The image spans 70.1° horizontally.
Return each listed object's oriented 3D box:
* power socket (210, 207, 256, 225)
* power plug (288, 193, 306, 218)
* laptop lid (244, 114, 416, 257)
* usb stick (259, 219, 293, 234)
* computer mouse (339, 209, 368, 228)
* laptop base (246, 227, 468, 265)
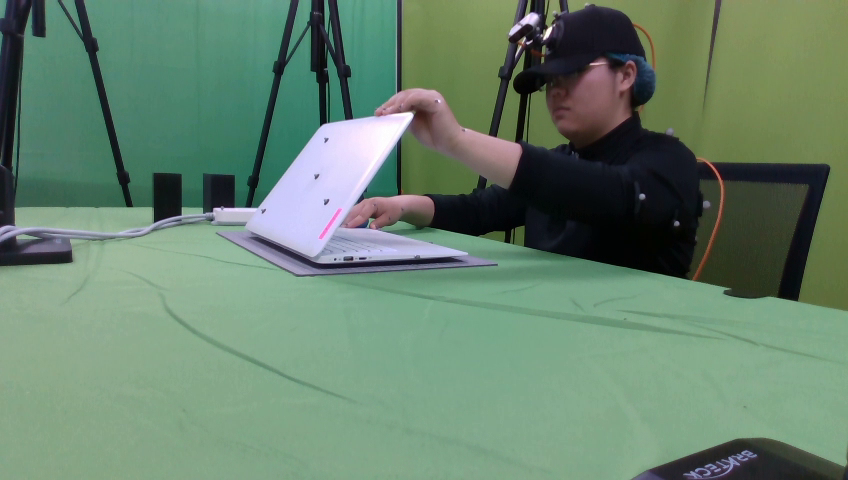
[{"bbox_3d":[-0.334,-0.051,1.282,0.228,0.032,0.072,-1,9,-28],"label":"power socket"},{"bbox_3d":[-0.281,-0.076,1.340,0.035,0.052,0.072,3,6,-18],"label":"power plug"},{"bbox_3d":[-0.160,-0.094,0.915,0.013,0.241,0.355,41,-12,-29],"label":"laptop lid"},{"bbox_3d":[-0.272,-0.025,1.108,0.059,0.027,0.021,-5,11,-28],"label":"usb stick"},{"bbox_3d":[-0.179,-0.045,1.275,0.118,0.041,0.062,-6,13,-29],"label":"computer mouse"},{"bbox_3d":[-0.122,0.006,0.954,0.237,0.023,0.352,2,6,-31],"label":"laptop base"}]
